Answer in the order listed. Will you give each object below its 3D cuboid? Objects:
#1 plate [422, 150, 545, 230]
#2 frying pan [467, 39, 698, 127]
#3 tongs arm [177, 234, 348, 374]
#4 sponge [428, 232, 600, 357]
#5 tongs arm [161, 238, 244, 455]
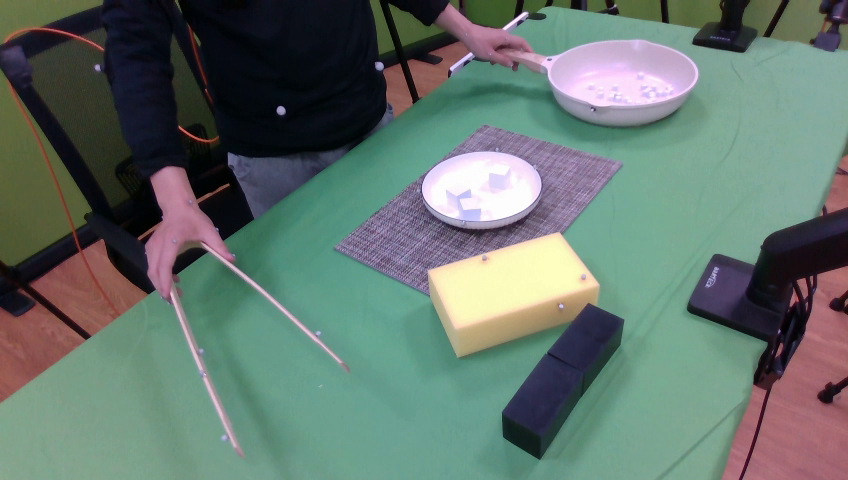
[{"bbox_3d":[0.100,-0.082,1.030,0.207,0.039,0.206,-4,40,4],"label":"plate"},{"bbox_3d":[0.312,-0.359,1.277,0.485,0.103,0.307,23,48,19],"label":"frying pan"},{"bbox_3d":[-0.224,0.072,0.798,0.384,0.028,0.028,30,68,37],"label":"tongs arm"},{"bbox_3d":[0.120,0.071,0.834,0.207,0.061,0.117,-16,43,-12],"label":"sponge"},{"bbox_3d":[-0.282,0.115,0.777,0.051,0.027,0.381,-35,47,-12],"label":"tongs arm"}]
